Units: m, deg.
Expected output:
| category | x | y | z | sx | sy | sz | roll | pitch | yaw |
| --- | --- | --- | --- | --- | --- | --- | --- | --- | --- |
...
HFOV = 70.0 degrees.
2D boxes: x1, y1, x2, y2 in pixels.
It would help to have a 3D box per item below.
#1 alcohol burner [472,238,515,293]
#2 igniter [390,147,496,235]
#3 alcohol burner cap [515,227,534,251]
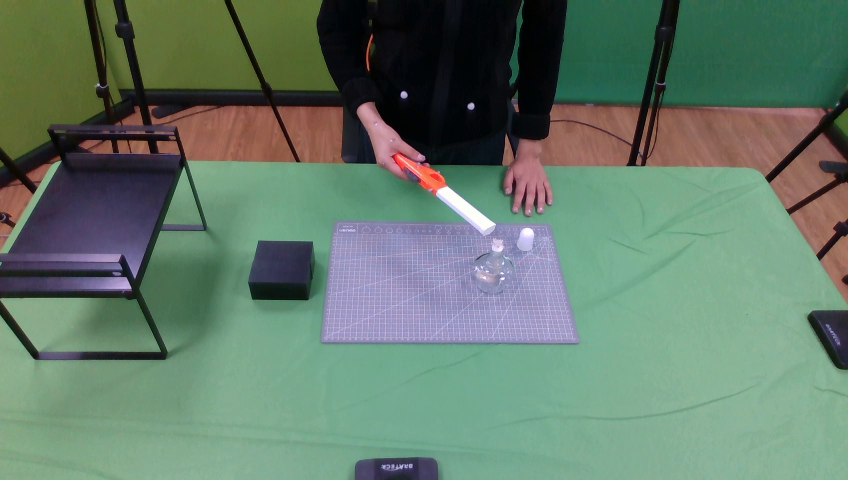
| category | x | y | z | sx | sy | sz | roll | pitch | yaw |
| --- | --- | --- | --- | --- | --- | --- | --- | --- | --- |
| alcohol burner | 0.128 | 0.041 | 1.102 | 0.078 | 0.120 | 0.077 | 1 | 47 | 0 |
| igniter | 0.027 | -0.098 | 1.125 | 0.057 | 0.025 | 0.275 | -24 | 52 | -36 |
| alcohol burner cap | 0.201 | -0.006 | 1.201 | 0.034 | 0.048 | 0.033 | 4 | 45 | -4 |
